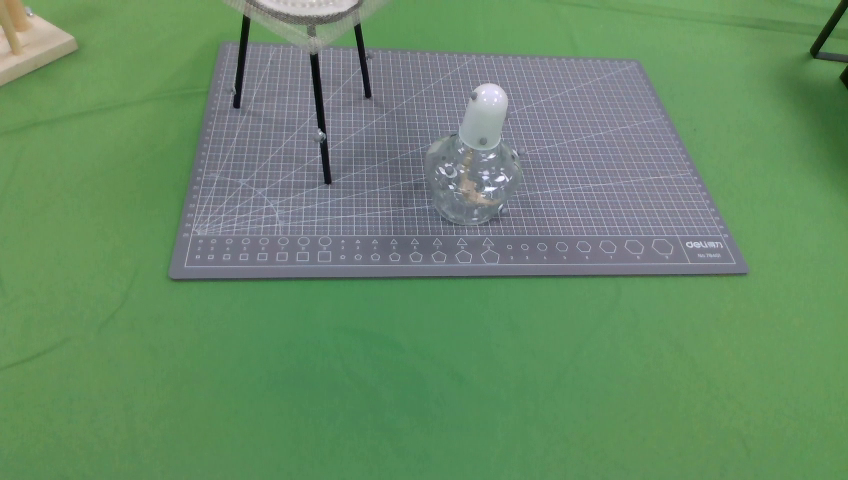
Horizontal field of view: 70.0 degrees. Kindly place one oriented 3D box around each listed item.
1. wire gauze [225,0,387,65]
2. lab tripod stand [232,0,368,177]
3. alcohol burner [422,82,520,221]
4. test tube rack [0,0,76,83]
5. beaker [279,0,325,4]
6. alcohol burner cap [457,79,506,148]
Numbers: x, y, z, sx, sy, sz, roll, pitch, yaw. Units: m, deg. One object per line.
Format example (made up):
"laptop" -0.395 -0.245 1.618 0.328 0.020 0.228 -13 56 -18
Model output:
"wire gauze" -0.090 -0.188 0.445 0.124 0.011 0.121 33 56 13
"lab tripod stand" -0.095 -0.147 0.495 0.148 0.132 0.147 5 51 -6
"alcohol burner" 0.039 -0.071 0.465 0.078 0.120 0.077 5 49 -5
"test tube rack" -0.425 -0.156 0.492 0.066 0.086 0.241 31 53 17
"beaker" -0.089 -0.221 0.408 0.084 0.101 0.073 -4 52 -11
"alcohol burner cap" 0.043 -0.093 0.437 0.034 0.048 0.033 4 55 -5
